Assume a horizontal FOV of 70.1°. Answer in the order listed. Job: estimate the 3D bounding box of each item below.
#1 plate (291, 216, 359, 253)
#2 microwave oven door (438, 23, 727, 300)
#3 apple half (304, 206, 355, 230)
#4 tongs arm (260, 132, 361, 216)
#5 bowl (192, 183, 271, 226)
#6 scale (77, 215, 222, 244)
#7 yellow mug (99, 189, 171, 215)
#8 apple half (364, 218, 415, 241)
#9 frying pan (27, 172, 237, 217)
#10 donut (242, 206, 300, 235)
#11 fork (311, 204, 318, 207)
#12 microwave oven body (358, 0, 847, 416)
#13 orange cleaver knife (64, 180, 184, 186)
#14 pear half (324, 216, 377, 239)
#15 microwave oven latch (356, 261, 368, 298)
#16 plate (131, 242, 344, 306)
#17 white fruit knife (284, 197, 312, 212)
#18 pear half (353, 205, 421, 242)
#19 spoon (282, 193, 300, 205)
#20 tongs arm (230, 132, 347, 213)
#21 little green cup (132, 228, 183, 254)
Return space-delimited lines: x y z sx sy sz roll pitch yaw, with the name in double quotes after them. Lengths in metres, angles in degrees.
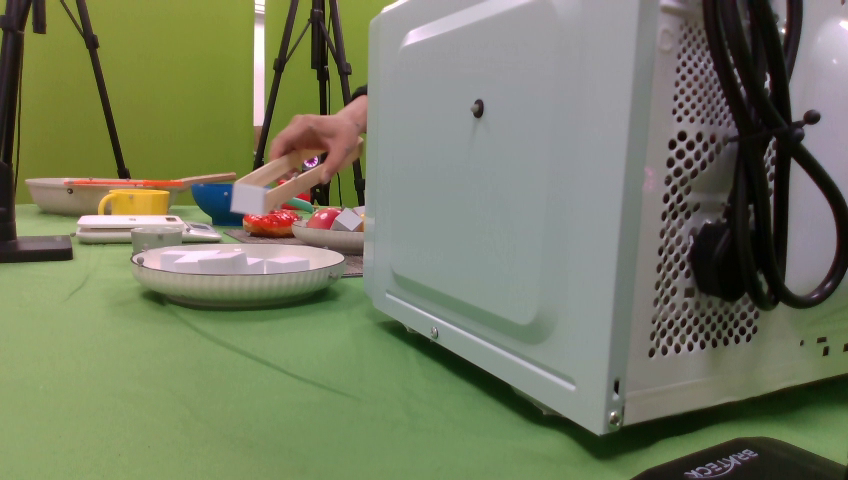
-0.102 -0.009 0.945 0.209 0.038 0.209 2 7 0 "plate"
0.181 -0.073 0.621 0.358 0.243 0.039 -2 8 -29 "microwave oven door"
-0.138 -0.024 0.917 0.081 0.053 0.074 0 10 -43 "apple half"
-0.153 -0.104 0.843 0.050 0.026 0.385 8 21 12 "tongs arm"
-0.382 -0.071 1.202 0.151 0.077 0.151 3 7 0 "bowl"
-0.434 -0.019 0.963 0.202 0.031 0.148 -1 9 -27 "scale"
-0.519 -0.055 1.080 0.099 0.064 0.131 7 10 26 "yellow mug"
-0.054 -0.019 0.966 0.081 0.033 0.081 -3 11 1 "apple half"
-0.624 -0.118 1.387 0.305 0.102 0.490 8 17 32 "frying pan"
-0.262 -0.032 1.040 0.099 0.048 0.099 4 10 0 "donut"
-0.356 -0.105 1.526 0.208 0.018 0.028 16 -5 -41 "fork"
0.211 -0.047 0.475 0.444 0.260 0.324 -1 7 -28 "microwave oven body"
-0.595 -0.114 1.212 0.212 0.012 0.077 -4 6 -41 "orange cleaver knife"
-0.119 -0.023 0.996 0.088 0.031 0.070 -3 22 -27 "pear half"
-0.020 0.033 0.530 0.079 0.029 0.030 -1 7 -26 "microwave oven latch"
-0.187 0.033 0.625 0.208 0.039 0.207 2 7 0 "plate"
-0.364 -0.105 1.464 0.208 0.027 0.016 15 -1 -34 "white fruit knife"
-0.051 -0.024 0.906 0.110 0.056 0.076 1 -2 -37 "pear half"
-0.317 -0.159 1.640 0.194 0.022 0.041 -49 32 -20 "spoon"
-0.176 -0.106 0.846 0.028 0.028 0.387 3 20 9 "tongs arm"
-0.342 0.006 0.779 0.061 0.038 0.061 2 8 0 "little green cup"
